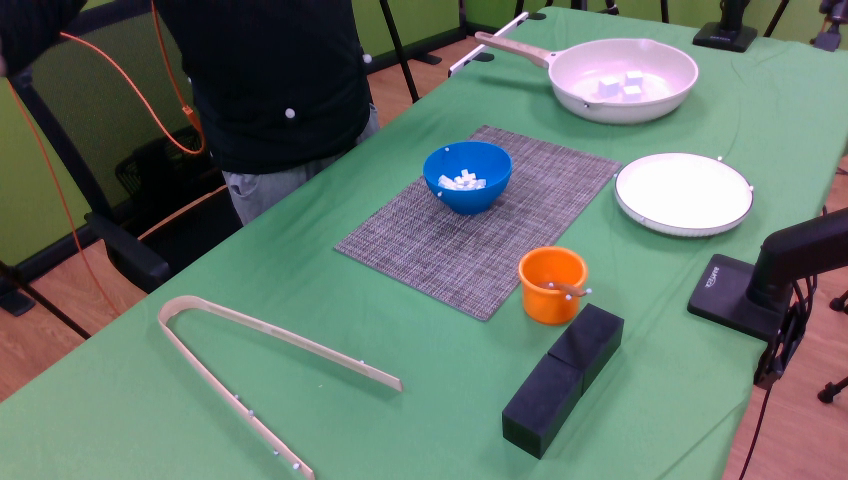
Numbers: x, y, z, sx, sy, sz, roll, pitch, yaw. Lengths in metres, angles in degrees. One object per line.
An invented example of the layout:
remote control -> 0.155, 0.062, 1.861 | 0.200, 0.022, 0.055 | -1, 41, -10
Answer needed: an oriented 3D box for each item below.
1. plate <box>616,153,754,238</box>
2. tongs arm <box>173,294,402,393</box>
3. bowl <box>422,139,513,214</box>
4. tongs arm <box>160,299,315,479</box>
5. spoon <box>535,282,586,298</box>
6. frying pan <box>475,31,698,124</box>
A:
plate -> 0.416, -0.069, 0.977 | 0.207, 0.039, 0.206 | -4, 40, 4
tongs arm -> -0.197, 0.137, 0.833 | 0.385, 0.028, 0.028 | 16, 48, 24
bowl -> 0.075, -0.097, 1.021 | 0.151, 0.077, 0.150 | -4, 41, 4
tongs arm -> -0.248, 0.179, 0.784 | 0.381, 0.026, 0.051 | 27, 49, 34
spoon -> 0.176, 0.063, 0.774 | 0.041, 0.194, 0.021 | -3, 85, 1
frying pan -> 0.320, -0.371, 1.290 | 0.485, 0.103, 0.307 | 28, 50, 23
